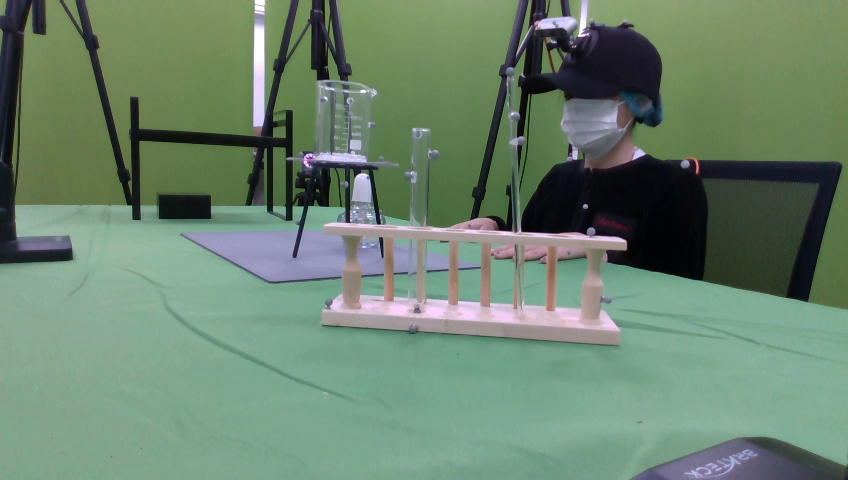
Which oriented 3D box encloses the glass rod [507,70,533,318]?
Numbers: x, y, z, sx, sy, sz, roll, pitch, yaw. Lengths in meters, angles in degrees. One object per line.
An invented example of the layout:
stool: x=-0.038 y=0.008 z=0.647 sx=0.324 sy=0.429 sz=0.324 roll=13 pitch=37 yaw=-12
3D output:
glass rod: x=0.076 y=-0.031 z=0.476 sx=0.008 sy=0.199 sz=0.008 roll=-6 pitch=12 yaw=2

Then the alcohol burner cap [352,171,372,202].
alcohol burner cap: x=-0.096 y=-0.084 z=0.951 sx=0.034 sy=0.048 sz=0.034 roll=6 pitch=5 yaw=0

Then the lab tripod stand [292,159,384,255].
lab tripod stand: x=-0.105 y=-0.039 z=0.797 sx=0.148 sy=0.131 sz=0.148 roll=2 pitch=5 yaw=0

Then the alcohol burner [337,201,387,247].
alcohol burner: x=-0.098 y=-0.049 z=0.954 sx=0.078 sy=0.119 sz=0.078 roll=0 pitch=6 yaw=0

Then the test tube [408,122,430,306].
test tube: x=-0.004 y=-0.019 z=0.489 sx=0.017 sy=0.150 sz=0.017 roll=1 pitch=11 yaw=0

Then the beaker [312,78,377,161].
beaker: x=-0.103 y=-0.151 z=0.776 sx=0.084 sy=0.100 sz=0.074 roll=5 pitch=6 yaw=14

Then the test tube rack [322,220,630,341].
test tube rack: x=0.041 y=0.029 z=0.512 sx=0.242 sy=0.085 sz=0.067 roll=3 pitch=7 yaw=5

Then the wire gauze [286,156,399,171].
wire gauze: x=-0.101 y=-0.103 z=0.788 sx=0.121 sy=0.011 sz=0.125 roll=5 pitch=4 yaw=6
